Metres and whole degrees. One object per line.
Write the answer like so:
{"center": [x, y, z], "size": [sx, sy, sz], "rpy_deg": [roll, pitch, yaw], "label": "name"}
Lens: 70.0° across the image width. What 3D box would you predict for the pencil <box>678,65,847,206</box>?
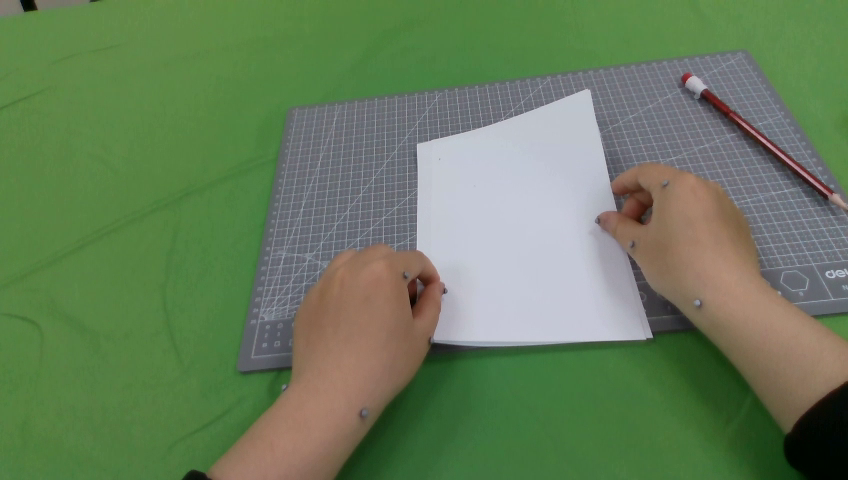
{"center": [0.270, -0.090, 0.493], "size": [0.012, 0.012, 0.192], "rpy_deg": [-21, 51, -8], "label": "pencil"}
